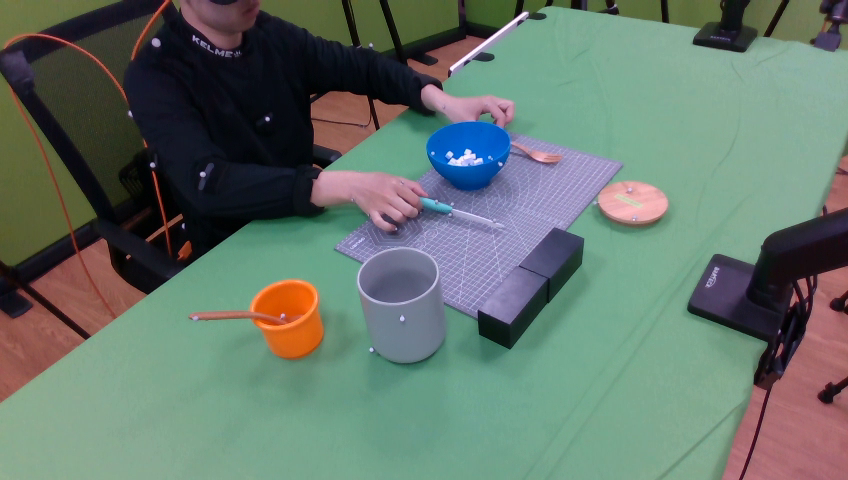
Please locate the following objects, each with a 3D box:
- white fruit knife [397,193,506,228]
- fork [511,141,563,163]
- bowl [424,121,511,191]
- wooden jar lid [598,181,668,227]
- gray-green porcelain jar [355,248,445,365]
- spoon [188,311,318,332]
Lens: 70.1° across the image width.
[{"bbox_3d":[0.042,-0.049,1.012,0.206,0.027,0.016,17,67,24],"label":"white fruit knife"},{"bbox_3d":[0.168,-0.178,1.151,0.206,0.019,0.028,23,58,29],"label":"fork"},{"bbox_3d":[0.081,-0.140,1.074,0.151,0.077,0.150,-4,40,4],"label":"bowl"},{"bbox_3d":[0.340,-0.057,0.988,0.108,0.021,0.108,-5,41,5],"label":"wooden jar lid"},{"bbox_3d":[-0.027,0.091,0.786,0.106,0.127,0.105,-4,40,4],"label":"gray-green porcelain jar"},{"bbox_3d":[-0.216,0.102,0.783,0.041,0.195,0.021,26,95,39],"label":"spoon"}]
